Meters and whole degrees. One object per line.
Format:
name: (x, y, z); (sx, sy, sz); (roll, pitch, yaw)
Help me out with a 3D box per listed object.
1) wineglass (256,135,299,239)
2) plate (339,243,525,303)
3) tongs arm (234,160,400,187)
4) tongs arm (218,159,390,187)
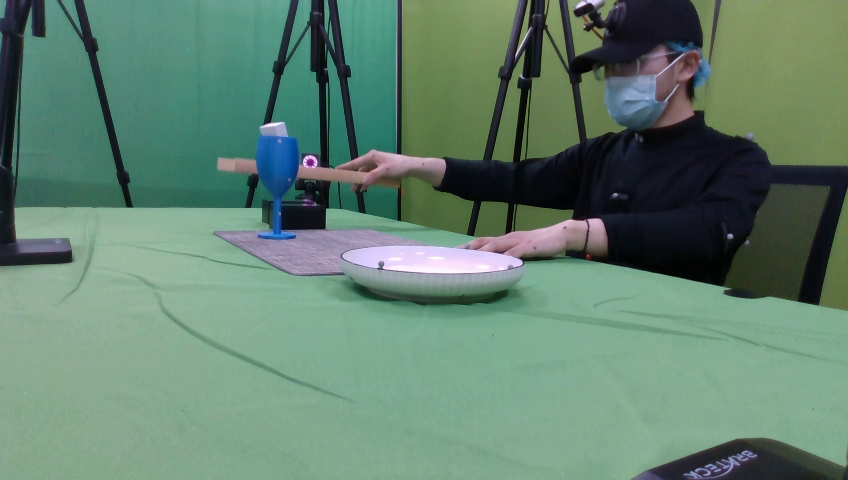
wineglass: (-0.252, -0.091, 1.035); (0.074, 0.172, 0.073); (3, 7, 0)
plate: (0.008, 0.035, 0.682); (0.209, 0.038, 0.209); (3, 7, 0)
tongs arm: (-0.206, -0.135, 1.250); (0.387, 0.026, 0.050); (1, 5, -35)
tongs arm: (-0.242, -0.144, 1.308); (0.389, 0.027, 0.028); (3, 1, -26)
